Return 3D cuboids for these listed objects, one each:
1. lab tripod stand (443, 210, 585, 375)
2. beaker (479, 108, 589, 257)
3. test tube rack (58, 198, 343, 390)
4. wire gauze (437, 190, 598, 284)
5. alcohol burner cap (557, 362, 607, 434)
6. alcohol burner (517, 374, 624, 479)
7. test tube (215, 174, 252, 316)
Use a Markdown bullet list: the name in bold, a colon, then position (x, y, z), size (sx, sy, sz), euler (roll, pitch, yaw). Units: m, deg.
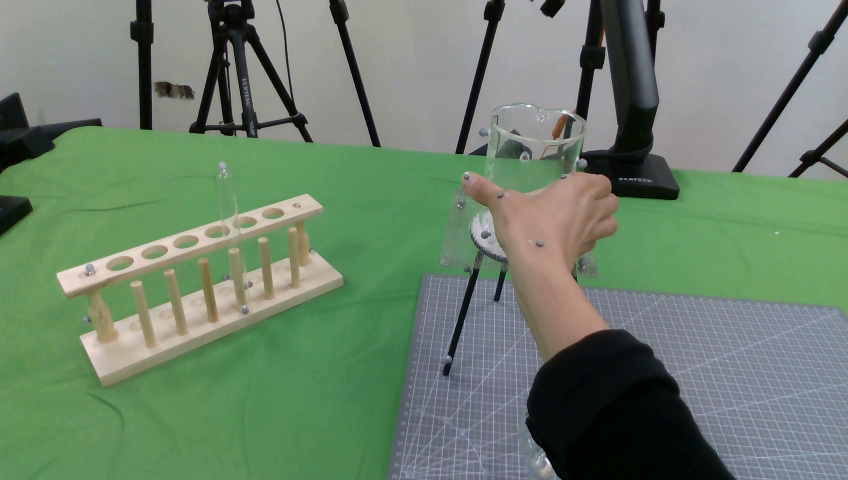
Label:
- **lab tripod stand**: position (0.085, 0.051, 0.543), size (0.148, 0.132, 0.147), euler (3, 33, -2)
- **beaker**: position (0.083, -0.045, 0.480), size (0.074, 0.101, 0.083), euler (11, 33, 10)
- **test tube rack**: position (-0.201, 0.043, 0.586), size (0.243, 0.086, 0.066), euler (-22, 40, -32)
- **wire gauze**: position (0.078, -0.004, 0.505), size (0.121, 0.011, 0.124), euler (6, 36, 5)
- **alcohol burner cap**: position (0.110, 0.105, 0.415), size (0.034, 0.048, 0.033), euler (0, 33, 0)
- **alcohol burner**: position (0.108, 0.135, 0.435), size (0.078, 0.120, 0.077), euler (2, 35, -1)
- **test tube**: position (-0.175, 0.008, 0.559), size (0.017, 0.151, 0.017), euler (2, 33, -1)
